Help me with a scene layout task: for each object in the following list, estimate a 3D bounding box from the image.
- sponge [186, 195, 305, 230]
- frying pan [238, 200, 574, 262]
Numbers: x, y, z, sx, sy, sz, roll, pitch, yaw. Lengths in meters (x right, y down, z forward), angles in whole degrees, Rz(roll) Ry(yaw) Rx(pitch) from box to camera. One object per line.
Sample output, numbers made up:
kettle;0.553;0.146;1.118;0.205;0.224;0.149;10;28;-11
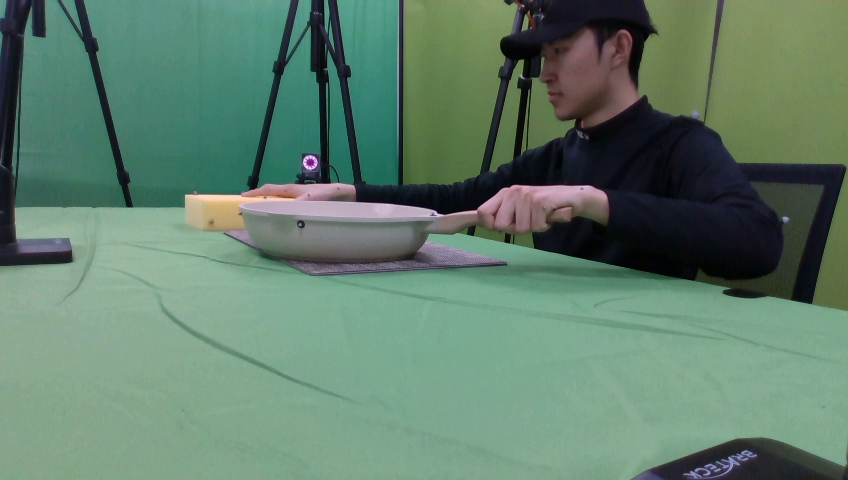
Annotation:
sponge;-0.358;-0.057;1.219;0.208;0.061;0.117;-3;8;-37
frying pan;-0.033;-0.026;0.867;0.486;0.102;0.308;-4;5;24
